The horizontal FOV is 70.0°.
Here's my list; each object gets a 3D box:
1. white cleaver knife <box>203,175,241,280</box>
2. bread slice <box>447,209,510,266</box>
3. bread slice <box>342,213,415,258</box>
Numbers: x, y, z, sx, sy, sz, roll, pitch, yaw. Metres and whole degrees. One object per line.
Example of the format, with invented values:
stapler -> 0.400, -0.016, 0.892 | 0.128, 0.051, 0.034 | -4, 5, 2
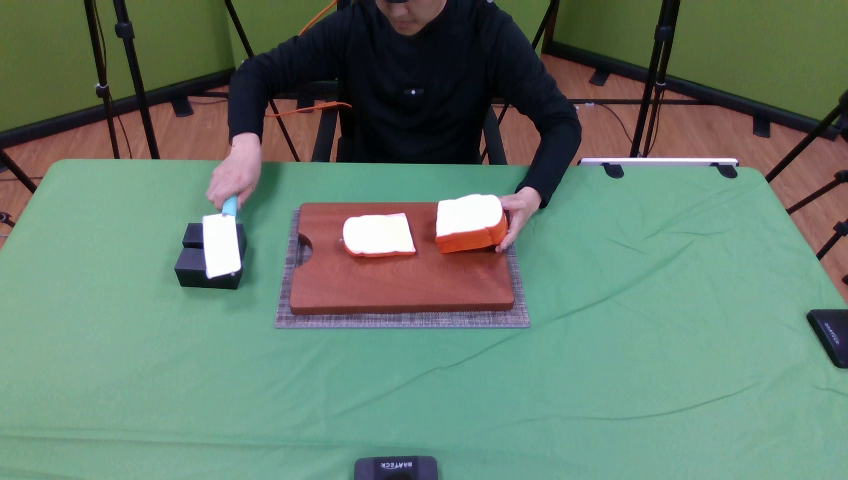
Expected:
white cleaver knife -> -0.382, -0.033, 1.139 | 0.066, 0.021, 0.284 | -10, 44, -11
bread slice -> 0.102, -0.009, 1.177 | 0.134, 0.018, 0.106 | -18, 43, 25
bread slice -> -0.091, -0.008, 1.154 | 0.132, 0.019, 0.104 | -3, 48, -14
